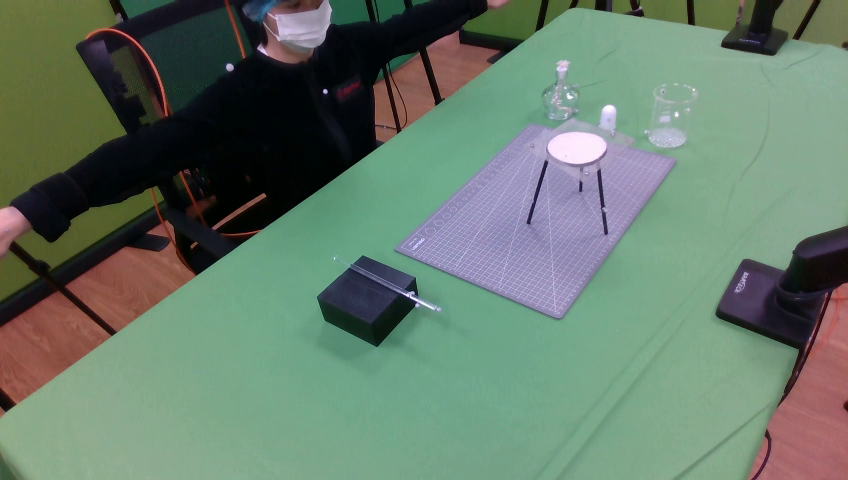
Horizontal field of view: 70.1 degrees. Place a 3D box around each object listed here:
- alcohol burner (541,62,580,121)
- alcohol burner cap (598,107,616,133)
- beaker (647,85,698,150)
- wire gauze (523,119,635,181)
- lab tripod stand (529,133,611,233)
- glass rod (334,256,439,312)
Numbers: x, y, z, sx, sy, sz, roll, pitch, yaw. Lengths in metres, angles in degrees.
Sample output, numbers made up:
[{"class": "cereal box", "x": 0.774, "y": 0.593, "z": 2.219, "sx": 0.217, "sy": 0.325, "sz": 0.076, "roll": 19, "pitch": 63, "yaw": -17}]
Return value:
[{"class": "alcohol burner", "x": 0.276, "y": -0.302, "z": 1.222, "sx": 0.078, "sy": 0.119, "sz": 0.077, "roll": -4, "pitch": 38, "yaw": 4}, {"class": "alcohol burner cap", "x": 0.361, "y": -0.238, "z": 1.189, "sx": 0.034, "sy": 0.048, "sz": 0.033, "roll": -4, "pitch": 40, "yaw": 4}, {"class": "beaker", "x": 0.454, "y": -0.223, "z": 1.110, "sx": 0.084, "sy": 0.101, "sz": 0.073, "roll": -10, "pitch": 40, "yaw": -4}, {"class": "wire gauze", "x": 0.233, "y": -0.143, "z": 0.913, "sx": 0.122, "sy": 0.011, "sz": 0.124, "roll": -32, "pitch": 45, "yaw": -25}, {"class": "lab tripod stand", "x": 0.236, "y": -0.089, "z": 0.953, "sx": 0.148, "sy": 0.132, "sz": 0.147, "roll": -5, "pitch": 42, "yaw": 5}, {"class": "glass rod", "x": -0.058, "y": 0.060, "z": 0.850, "sx": 0.198, "sy": 0.008, "sz": 0.008, "roll": 24, "pitch": 49, "yaw": 33}]
